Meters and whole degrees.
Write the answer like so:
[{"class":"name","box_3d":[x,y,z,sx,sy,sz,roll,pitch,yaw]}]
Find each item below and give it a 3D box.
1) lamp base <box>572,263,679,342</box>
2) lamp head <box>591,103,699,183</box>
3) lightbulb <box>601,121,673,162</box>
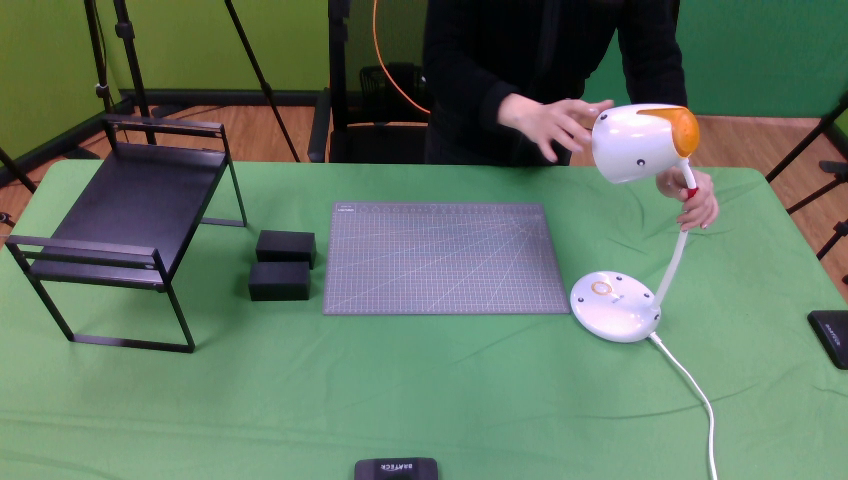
[{"class":"lamp base","box_3d":[0.362,0.071,1.044,0.178,0.181,0.160,38,55,26]},{"class":"lamp head","box_3d":[0.314,-0.137,0.839,0.112,0.113,0.122,-38,24,-33]},{"class":"lightbulb","box_3d":[0.303,-0.144,0.861,0.059,0.060,0.107,-37,18,-32]}]
